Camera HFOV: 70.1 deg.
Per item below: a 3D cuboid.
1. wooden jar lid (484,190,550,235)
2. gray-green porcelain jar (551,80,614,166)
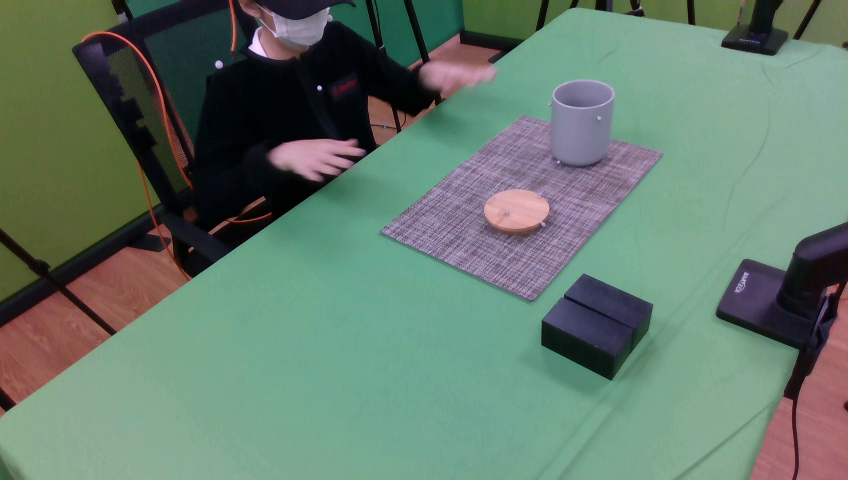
[{"bbox_3d":[0.154,-0.045,1.001,0.108,0.021,0.108,-3,40,3],"label":"wooden jar lid"},{"bbox_3d":[0.282,-0.205,1.086,0.106,0.127,0.105,-4,40,4],"label":"gray-green porcelain jar"}]
